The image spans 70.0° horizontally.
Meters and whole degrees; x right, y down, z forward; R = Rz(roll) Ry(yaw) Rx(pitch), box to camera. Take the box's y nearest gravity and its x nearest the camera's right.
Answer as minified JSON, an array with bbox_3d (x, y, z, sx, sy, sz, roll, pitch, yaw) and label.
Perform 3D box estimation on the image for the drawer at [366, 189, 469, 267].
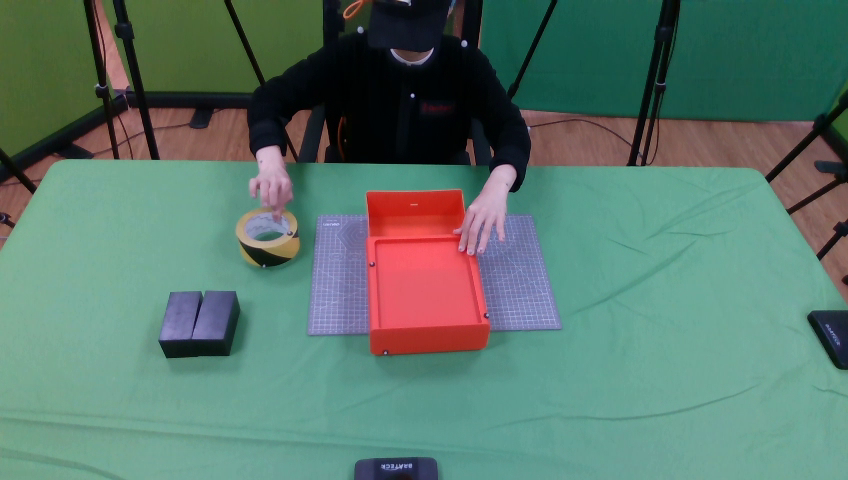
[{"bbox_3d":[-0.012,-0.003,1.156,0.195,0.073,0.210,-1,46,-6],"label":"drawer"}]

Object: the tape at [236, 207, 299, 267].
[{"bbox_3d":[-0.293,-0.006,1.140,0.117,0.053,0.116,2,46,-2],"label":"tape"}]

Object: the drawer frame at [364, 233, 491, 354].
[{"bbox_3d":[0.000,0.088,1.066,0.202,0.083,0.212,-2,47,-7],"label":"drawer frame"}]
